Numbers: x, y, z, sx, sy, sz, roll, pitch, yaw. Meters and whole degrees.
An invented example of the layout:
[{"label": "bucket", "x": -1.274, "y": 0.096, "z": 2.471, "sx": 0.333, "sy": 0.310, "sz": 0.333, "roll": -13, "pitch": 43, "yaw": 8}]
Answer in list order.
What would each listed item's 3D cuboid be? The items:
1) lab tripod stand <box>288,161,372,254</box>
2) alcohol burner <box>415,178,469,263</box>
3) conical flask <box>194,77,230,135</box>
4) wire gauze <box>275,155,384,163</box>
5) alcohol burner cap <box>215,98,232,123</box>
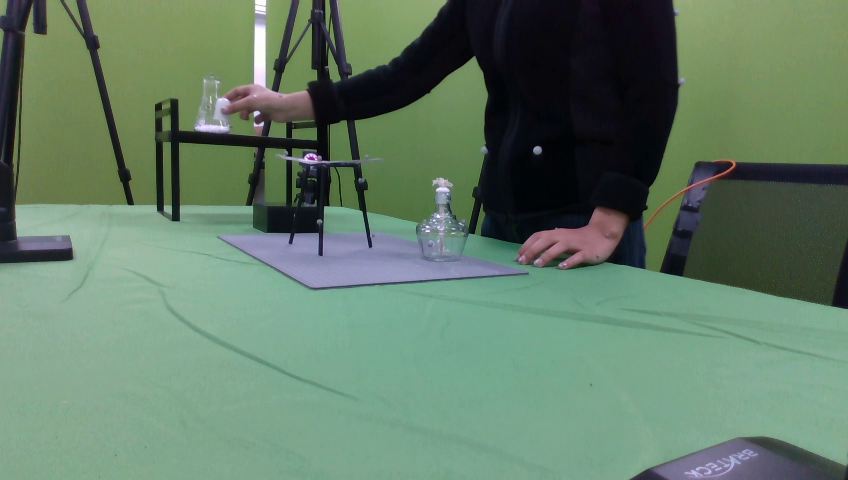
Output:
[{"label": "lab tripod stand", "x": -0.147, "y": -0.052, "z": 0.909, "sx": 0.148, "sy": 0.131, "sz": 0.148, "roll": 1, "pitch": 8, "yaw": 0}, {"label": "alcohol burner", "x": 0.026, "y": -0.028, "z": 0.863, "sx": 0.078, "sy": 0.119, "sz": 0.078, "roll": 1, "pitch": 6, "yaw": 0}, {"label": "conical flask", "x": -0.461, "y": -0.292, "z": 1.317, "sx": 0.075, "sy": 0.122, "sz": 0.075, "roll": 2, "pitch": 7, "yaw": 0}, {"label": "wire gauze", "x": -0.142, "y": -0.118, "z": 0.900, "sx": 0.122, "sy": 0.011, "sz": 0.124, "roll": -3, "pitch": 8, "yaw": -37}, {"label": "alcohol burner cap", "x": -0.401, "y": -0.261, "z": 1.216, "sx": 0.034, "sy": 0.048, "sz": 0.034, "roll": 7, "pitch": 5, "yaw": 0}]
